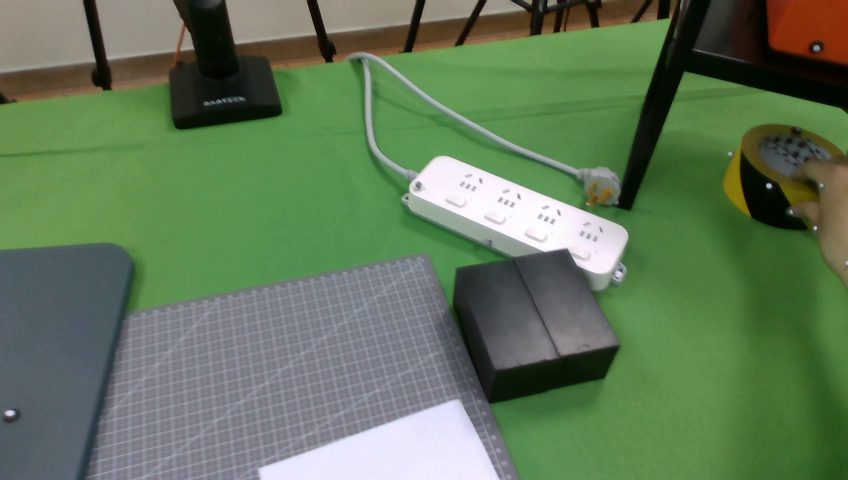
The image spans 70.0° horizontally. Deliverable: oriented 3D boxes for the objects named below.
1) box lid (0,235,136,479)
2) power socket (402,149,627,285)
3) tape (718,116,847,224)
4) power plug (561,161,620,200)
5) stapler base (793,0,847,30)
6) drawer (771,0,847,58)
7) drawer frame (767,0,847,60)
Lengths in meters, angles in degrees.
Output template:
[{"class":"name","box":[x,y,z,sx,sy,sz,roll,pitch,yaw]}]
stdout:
[{"class":"box lid","box":[-0.368,0.141,0.421,0.264,0.015,0.367,-4,48,-6]},{"class":"power socket","box":[0.086,-0.026,0.586,0.225,0.033,0.072,25,51,19]},{"class":"tape","box":[0.376,-0.074,0.632,0.117,0.053,0.115,2,48,-1]},{"class":"power plug","box":[0.169,-0.059,0.632,0.072,0.035,0.052,-2,30,46]},{"class":"stapler base","box":[0.377,-0.182,0.495,0.129,0.024,0.041,29,50,23]},{"class":"drawer","box":[0.402,-0.223,0.508,0.194,0.074,0.210,16,48,12]},{"class":"drawer frame","box":[0.403,-0.227,0.509,0.201,0.083,0.212,15,48,11]}]
